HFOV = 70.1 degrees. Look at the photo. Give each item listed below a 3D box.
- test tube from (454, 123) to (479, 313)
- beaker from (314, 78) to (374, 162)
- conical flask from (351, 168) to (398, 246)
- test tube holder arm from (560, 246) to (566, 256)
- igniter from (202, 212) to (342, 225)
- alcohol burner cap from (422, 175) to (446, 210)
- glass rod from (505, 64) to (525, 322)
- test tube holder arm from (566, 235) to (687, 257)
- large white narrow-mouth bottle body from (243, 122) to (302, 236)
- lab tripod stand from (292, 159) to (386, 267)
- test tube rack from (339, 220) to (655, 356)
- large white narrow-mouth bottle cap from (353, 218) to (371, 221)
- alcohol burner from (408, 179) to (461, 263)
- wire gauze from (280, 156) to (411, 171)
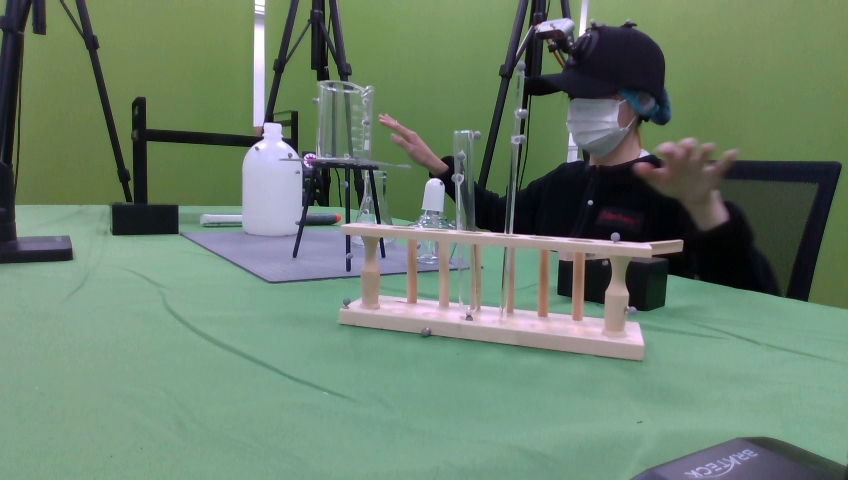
[{"bbox_3d":[0.034,-0.016,0.477,0.017,0.150,0.017,-2,9,1],"label":"test tube"},{"bbox_3d":[-0.101,-0.151,0.775,0.074,0.100,0.083,-2,8,-39],"label":"beaker"},{"bbox_3d":[-0.078,-0.053,0.962,0.075,0.122,0.075,2,7,0],"label":"conical flask"},{"bbox_3d":[0.173,0.007,0.611,0.088,0.015,0.010,-3,9,-30],"label":"test tube holder arm"},{"bbox_3d":[-0.298,-0.044,1.216,0.278,0.025,0.057,-3,-2,-32],"label":"igniter"},{"bbox_3d":[0.016,-0.065,0.830,0.034,0.048,0.034,7,4,0],"label":"alcohol burner cap"},{"bbox_3d":[0.069,-0.030,0.458,0.008,0.199,0.008,0,15,0],"label":"glass rod"},{"bbox_3d":[0.215,0.006,0.630,0.179,0.015,0.013,-3,9,-30],"label":"test tube holder arm"},{"bbox_3d":[-0.264,-0.109,1.061,0.102,0.194,0.102,2,8,0],"label":"large white narrow-mouth bottle body"},{"bbox_3d":[-0.105,-0.039,0.797,0.148,0.131,0.148,2,5,0],"label":"lab tripod stand"},{"bbox_3d":[0.056,0.032,0.495,0.242,0.085,0.067,4,7,15],"label":"test tube rack"},{"bbox_3d":[-0.120,-0.029,1.184,0.038,0.024,0.037,2,8,0],"label":"large white narrow-mouth bottle cap"},{"bbox_3d":[0.014,-0.029,0.834,0.078,0.119,0.078,0,6,0],"label":"alcohol burner"},{"bbox_3d":[-0.103,-0.103,0.785,0.121,0.011,0.126,11,8,42],"label":"wire gauze"}]
